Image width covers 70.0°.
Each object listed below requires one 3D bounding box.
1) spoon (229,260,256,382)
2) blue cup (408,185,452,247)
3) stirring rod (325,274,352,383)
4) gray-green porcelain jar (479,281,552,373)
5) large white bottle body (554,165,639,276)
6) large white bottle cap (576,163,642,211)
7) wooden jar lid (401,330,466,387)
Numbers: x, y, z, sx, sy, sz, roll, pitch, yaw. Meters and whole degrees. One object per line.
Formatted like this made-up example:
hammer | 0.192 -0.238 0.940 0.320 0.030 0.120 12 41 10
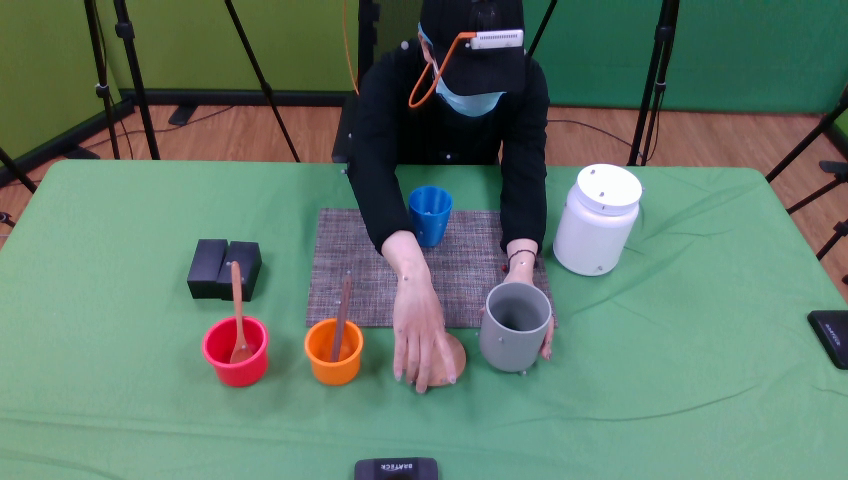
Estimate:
spoon | -0.294 0.129 0.966 0.042 0.021 0.193 -4 91 -9
blue cup | 0.008 -0.042 1.176 0.093 0.101 0.092 3 47 -3
stirring rod | -0.137 0.142 0.971 0.014 0.006 0.176 10 88 1
gray-green porcelain jar | 0.146 0.147 0.993 0.106 0.127 0.105 2 46 -2
large white bottle body | 0.326 -0.037 1.141 0.131 0.185 0.130 2 46 -2
large white bottle cap | 0.330 -0.096 1.081 0.115 0.018 0.114 2 46 -2
wooden jar lid | 0.015 0.198 1.008 0.108 0.021 0.107 1 48 -1
